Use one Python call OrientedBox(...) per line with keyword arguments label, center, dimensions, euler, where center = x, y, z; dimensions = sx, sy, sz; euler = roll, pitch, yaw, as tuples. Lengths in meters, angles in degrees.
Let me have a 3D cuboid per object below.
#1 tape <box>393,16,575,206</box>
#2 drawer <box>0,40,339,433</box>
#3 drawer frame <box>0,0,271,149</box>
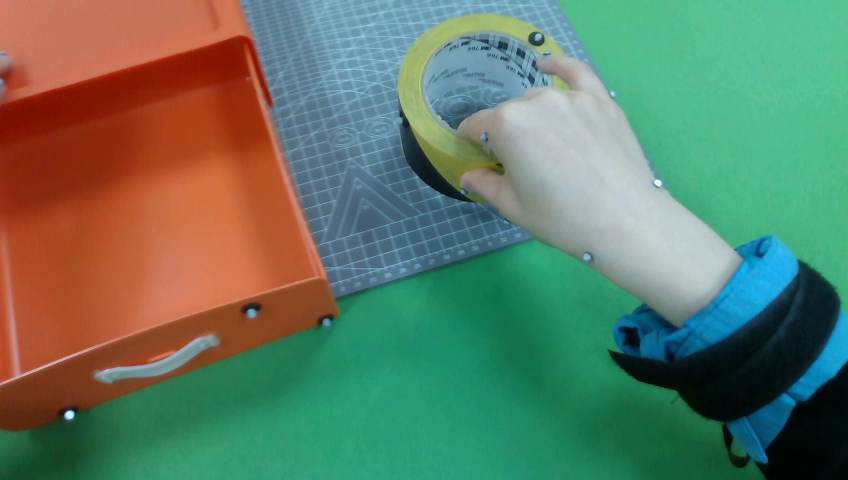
OrientedBox(label="tape", center=(0.038, -0.082, 0.391), dimensions=(0.117, 0.053, 0.116), euler=(1, 68, -1))
OrientedBox(label="drawer", center=(-0.178, -0.018, 0.369), dimensions=(0.195, 0.074, 0.210), euler=(-19, 66, -8))
OrientedBox(label="drawer frame", center=(-0.239, -0.161, 0.438), dimensions=(0.202, 0.083, 0.211), euler=(-20, 64, -9))
